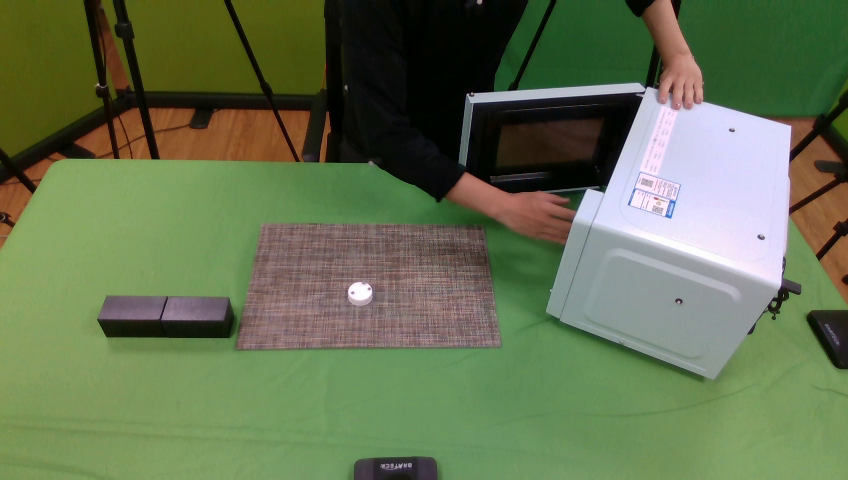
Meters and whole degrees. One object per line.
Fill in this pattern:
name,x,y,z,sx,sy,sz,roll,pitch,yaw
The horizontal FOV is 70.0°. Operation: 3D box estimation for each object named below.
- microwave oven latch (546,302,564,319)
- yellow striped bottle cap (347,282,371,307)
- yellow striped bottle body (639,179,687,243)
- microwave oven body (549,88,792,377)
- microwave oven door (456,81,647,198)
microwave oven latch,0.242,0.102,1.081,0.030,0.029,0.079,22,48,17
yellow striped bottle cap,-0.117,0.098,1.093,0.044,0.019,0.044,3,45,-3
yellow striped bottle body,0.446,-0.057,1.126,0.063,0.121,0.062,0,47,0
microwave oven body,0.455,-0.028,1.088,0.325,0.261,0.440,20,47,16
microwave oven door,0.251,-0.201,1.227,0.356,0.245,0.039,-6,47,-10
